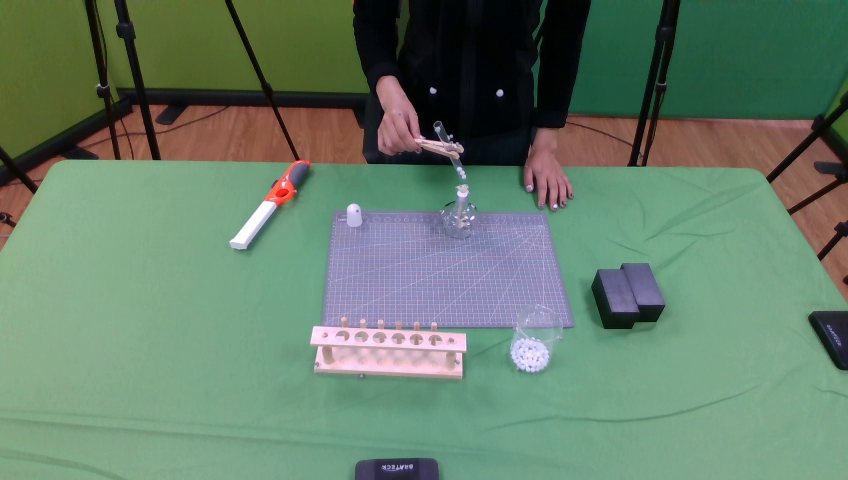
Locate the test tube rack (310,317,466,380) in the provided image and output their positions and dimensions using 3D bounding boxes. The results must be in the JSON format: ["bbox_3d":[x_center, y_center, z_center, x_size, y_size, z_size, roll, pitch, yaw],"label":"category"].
[{"bbox_3d":[-0.056,0.171,0.987,0.242,0.085,0.066,3,45,-1],"label":"test tube rack"}]

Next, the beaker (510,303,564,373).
[{"bbox_3d":[0.182,0.164,1.000,0.074,0.101,0.083,2,46,-1],"label":"beaker"}]

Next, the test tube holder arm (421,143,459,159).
[{"bbox_3d":[0.028,-0.164,1.091,0.087,0.015,0.010,27,71,41],"label":"test tube holder arm"}]

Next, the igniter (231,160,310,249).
[{"bbox_3d":[-0.311,-0.081,1.250,0.057,0.025,0.275,9,45,18],"label":"igniter"}]

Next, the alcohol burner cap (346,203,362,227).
[{"bbox_3d":[-0.141,-0.053,1.222,0.034,0.048,0.033,2,47,-2],"label":"alcohol burner cap"}]

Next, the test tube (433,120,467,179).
[{"bbox_3d":[0.049,-0.158,1.081,0.017,0.151,0.017,-12,54,18],"label":"test tube"}]

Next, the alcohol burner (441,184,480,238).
[{"bbox_3d":[0.073,-0.061,1.195,0.078,0.120,0.077,1,47,0],"label":"alcohol burner"}]

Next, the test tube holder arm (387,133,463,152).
[{"bbox_3d":[-0.001,-0.180,1.121,0.177,0.015,0.013,18,65,38],"label":"test tube holder arm"}]
